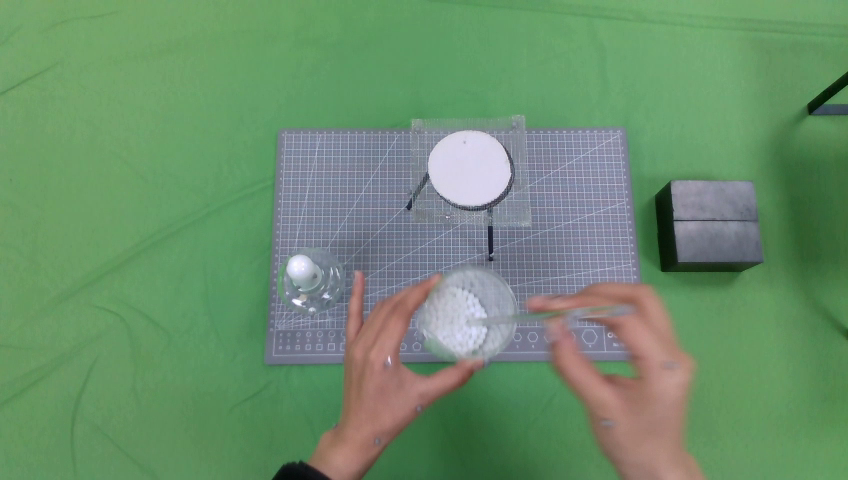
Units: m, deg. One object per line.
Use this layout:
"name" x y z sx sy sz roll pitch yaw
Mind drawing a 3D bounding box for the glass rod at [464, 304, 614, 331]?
"glass rod" 0.066 0.054 0.410 0.008 0.199 0.008 4 78 -18

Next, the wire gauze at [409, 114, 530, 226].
"wire gauze" 0.046 -0.074 0.629 0.125 0.011 0.121 0 75 -1

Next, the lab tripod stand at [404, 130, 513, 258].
"lab tripod stand" 0.049 -0.061 0.694 0.148 0.132 0.147 0 73 0

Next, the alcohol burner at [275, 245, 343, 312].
"alcohol burner" -0.131 0.040 0.674 0.078 0.119 0.077 0 76 -1

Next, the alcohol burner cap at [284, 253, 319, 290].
"alcohol burner cap" -0.132 0.032 0.640 0.034 0.048 0.033 0 70 1

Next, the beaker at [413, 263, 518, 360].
"beaker" 0.028 0.067 0.520 0.084 0.100 0.073 -12 79 -11
